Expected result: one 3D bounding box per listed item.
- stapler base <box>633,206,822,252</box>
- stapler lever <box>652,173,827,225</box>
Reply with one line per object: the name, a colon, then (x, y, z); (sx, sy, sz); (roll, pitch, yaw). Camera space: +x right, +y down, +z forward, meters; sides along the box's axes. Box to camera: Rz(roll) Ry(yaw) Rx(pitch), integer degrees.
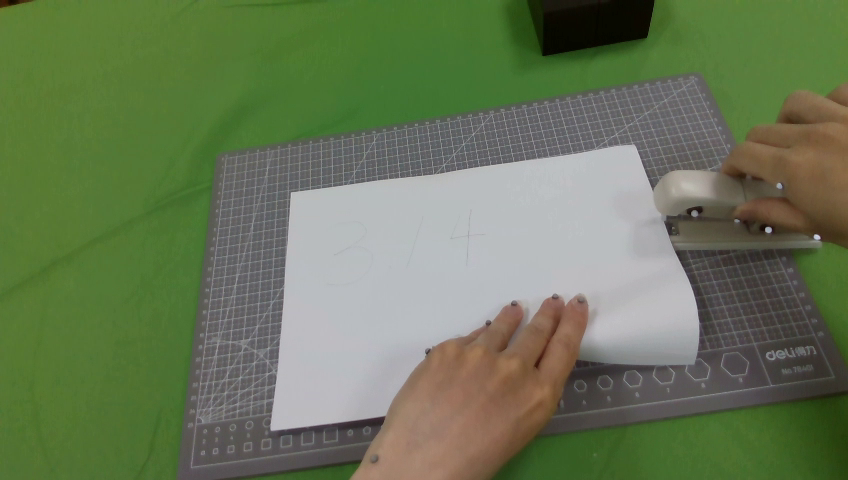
stapler base: (0.225, -0.015, 0.449); (0.130, 0.024, 0.041); (-1, 60, 7)
stapler lever: (0.223, -0.029, 0.427); (0.118, 0.040, 0.026); (-1, 60, 7)
